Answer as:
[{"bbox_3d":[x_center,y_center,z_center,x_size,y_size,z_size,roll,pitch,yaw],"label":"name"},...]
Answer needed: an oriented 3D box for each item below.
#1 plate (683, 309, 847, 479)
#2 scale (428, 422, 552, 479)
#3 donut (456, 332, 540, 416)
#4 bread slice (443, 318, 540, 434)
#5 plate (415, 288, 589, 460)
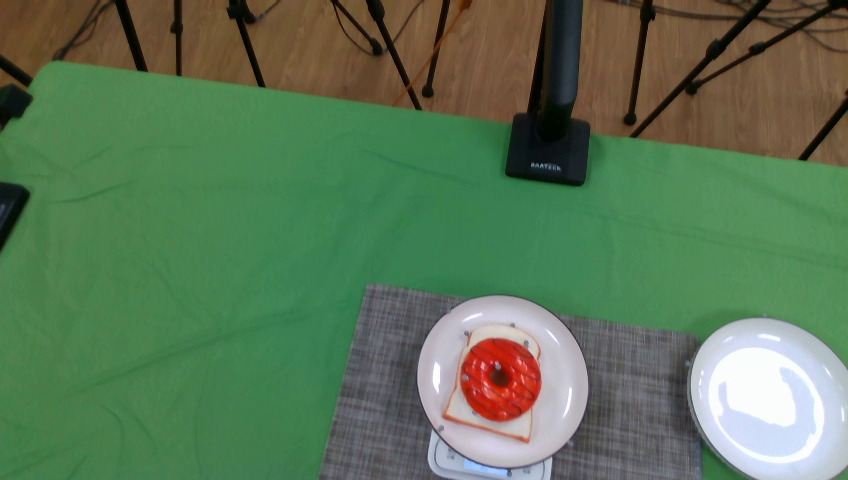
[{"bbox_3d":[0.425,0.189,0.752,0.207,0.039,0.206,-1,65,1],"label":"plate"},{"bbox_3d":[0.092,0.191,0.761,0.148,0.032,0.199,9,66,6],"label":"scale"},{"bbox_3d":[0.087,0.156,0.710,0.099,0.048,0.098,1,68,-1],"label":"donut"},{"bbox_3d":[0.088,0.158,0.741,0.105,0.019,0.130,13,66,6],"label":"bread slice"},{"bbox_3d":[0.093,0.160,0.738,0.209,0.038,0.207,0,65,1],"label":"plate"}]
